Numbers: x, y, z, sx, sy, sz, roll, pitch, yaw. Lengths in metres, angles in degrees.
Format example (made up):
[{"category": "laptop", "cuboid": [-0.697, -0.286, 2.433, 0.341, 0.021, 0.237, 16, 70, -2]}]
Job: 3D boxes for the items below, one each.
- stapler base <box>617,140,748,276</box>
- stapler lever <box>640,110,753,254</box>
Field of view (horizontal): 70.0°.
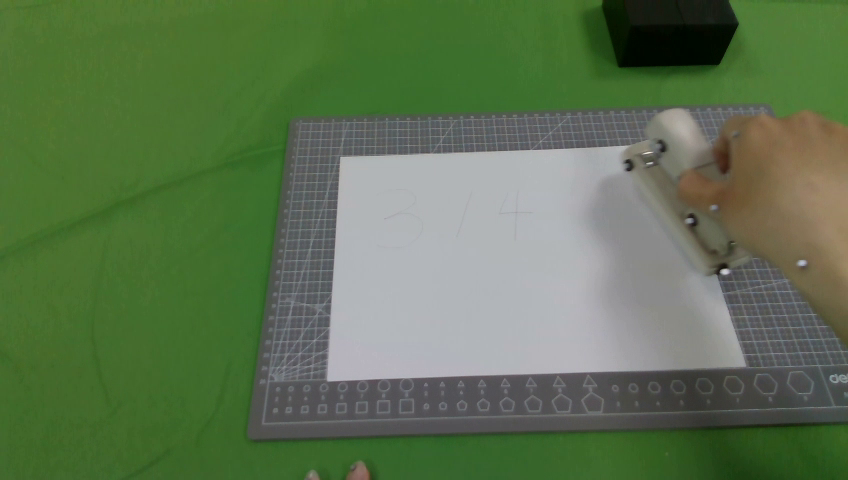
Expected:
[{"category": "stapler base", "cuboid": [0.199, -0.034, 0.468, 0.041, 0.024, 0.129, -20, 61, -10]}, {"category": "stapler lever", "cuboid": [0.200, -0.047, 0.446, 0.027, 0.040, 0.117, -20, 61, -10]}]
